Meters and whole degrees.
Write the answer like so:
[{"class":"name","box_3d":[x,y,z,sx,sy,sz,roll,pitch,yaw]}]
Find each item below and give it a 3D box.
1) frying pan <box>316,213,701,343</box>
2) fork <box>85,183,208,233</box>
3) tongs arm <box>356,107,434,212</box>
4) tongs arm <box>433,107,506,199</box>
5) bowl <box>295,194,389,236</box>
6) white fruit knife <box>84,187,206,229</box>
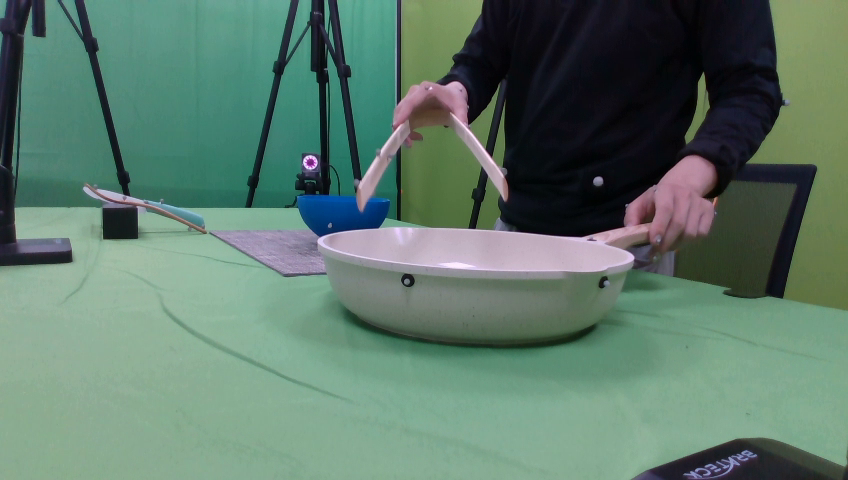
[{"class":"frying pan","box_3d":[0.133,0.013,0.629,0.490,0.102,0.305,-12,14,-30]},{"class":"fork","box_3d":[-0.462,-0.051,1.020,0.208,0.018,0.028,22,-8,-37]},{"class":"tongs arm","box_3d":[-0.025,-0.114,0.749,0.051,0.026,0.384,-5,22,7]},{"class":"tongs arm","box_3d":[0.050,-0.121,0.746,0.028,0.028,0.386,-13,23,-2]},{"class":"bowl","box_3d":[-0.132,-0.032,0.980,0.151,0.077,0.151,2,7,0]},{"class":"white fruit knife","box_3d":[-0.488,-0.059,1.071,0.208,0.027,0.016,17,4,-33]}]
